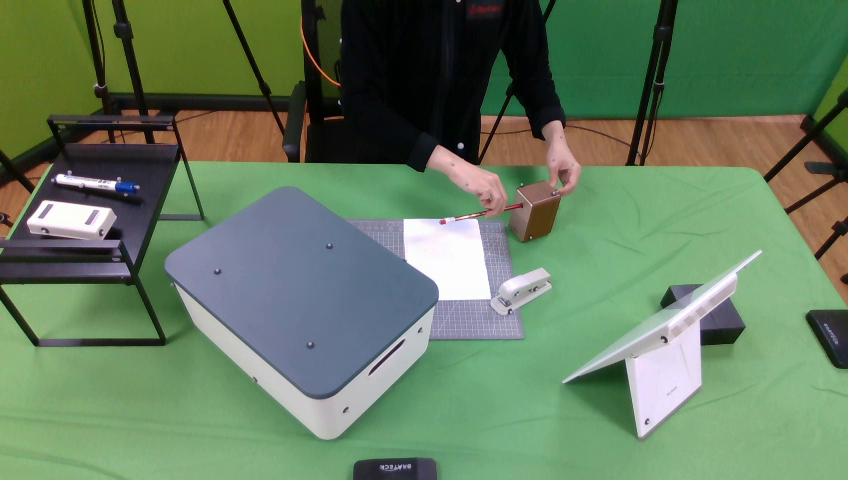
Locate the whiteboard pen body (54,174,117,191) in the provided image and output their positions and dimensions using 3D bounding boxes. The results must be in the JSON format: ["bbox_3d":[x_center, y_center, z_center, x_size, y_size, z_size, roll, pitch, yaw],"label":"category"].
[{"bbox_3d":[-0.541,-0.093,0.993,0.140,0.017,0.017,7,46,9],"label":"whiteboard pen body"}]

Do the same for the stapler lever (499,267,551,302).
[{"bbox_3d":[0.185,0.076,1.101,0.118,0.040,0.026,-25,57,-29],"label":"stapler lever"}]

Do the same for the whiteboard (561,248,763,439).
[{"bbox_3d":[0.386,0.176,0.905,0.217,0.306,0.143,-26,72,-27],"label":"whiteboard"}]

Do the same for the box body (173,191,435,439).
[{"bbox_3d":[-0.191,0.110,0.979,0.362,0.161,0.254,33,53,24],"label":"box body"}]

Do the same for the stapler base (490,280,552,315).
[{"bbox_3d":[0.181,0.094,1.118,0.130,0.024,0.041,-24,57,-29],"label":"stapler base"}]

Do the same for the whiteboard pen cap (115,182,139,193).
[{"bbox_3d":[-0.483,-0.086,0.984,0.033,0.018,0.018,7,46,10],"label":"whiteboard pen cap"}]

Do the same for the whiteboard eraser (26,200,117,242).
[{"bbox_3d":[-0.532,-0.026,0.919,0.113,0.042,0.055,7,45,3],"label":"whiteboard eraser"}]

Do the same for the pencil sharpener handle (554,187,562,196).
[{"bbox_3d":[0.263,-0.096,1.225,0.031,0.036,0.067,-18,14,-22],"label":"pencil sharpener handle"}]

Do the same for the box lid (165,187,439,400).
[{"bbox_3d":[-0.186,0.060,0.925,0.370,0.015,0.263,32,53,25],"label":"box lid"}]

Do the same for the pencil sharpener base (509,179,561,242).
[{"bbox_3d":[0.222,-0.059,1.212,0.077,0.107,0.061,-18,49,-22],"label":"pencil sharpener base"}]

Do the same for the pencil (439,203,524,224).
[{"bbox_3d":[0.119,-0.052,1.156,0.194,0.012,0.012,-12,49,-18],"label":"pencil"}]
